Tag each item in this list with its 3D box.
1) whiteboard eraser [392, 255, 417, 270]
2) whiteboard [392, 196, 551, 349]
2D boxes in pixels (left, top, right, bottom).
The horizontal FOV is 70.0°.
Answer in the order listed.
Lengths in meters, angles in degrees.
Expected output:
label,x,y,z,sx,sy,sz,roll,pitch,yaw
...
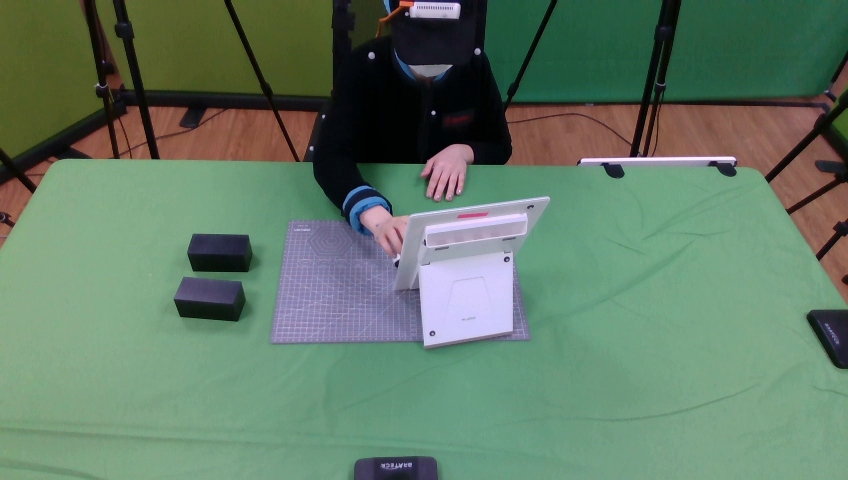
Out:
label,x,y,z,sx,sy,sz,roll,pitch,yaw
whiteboard eraser,-0.006,0.024,1.008,0.101,0.041,0.018,-24,66,15
whiteboard,0.077,0.071,0.977,0.217,0.306,0.143,-7,67,-11
